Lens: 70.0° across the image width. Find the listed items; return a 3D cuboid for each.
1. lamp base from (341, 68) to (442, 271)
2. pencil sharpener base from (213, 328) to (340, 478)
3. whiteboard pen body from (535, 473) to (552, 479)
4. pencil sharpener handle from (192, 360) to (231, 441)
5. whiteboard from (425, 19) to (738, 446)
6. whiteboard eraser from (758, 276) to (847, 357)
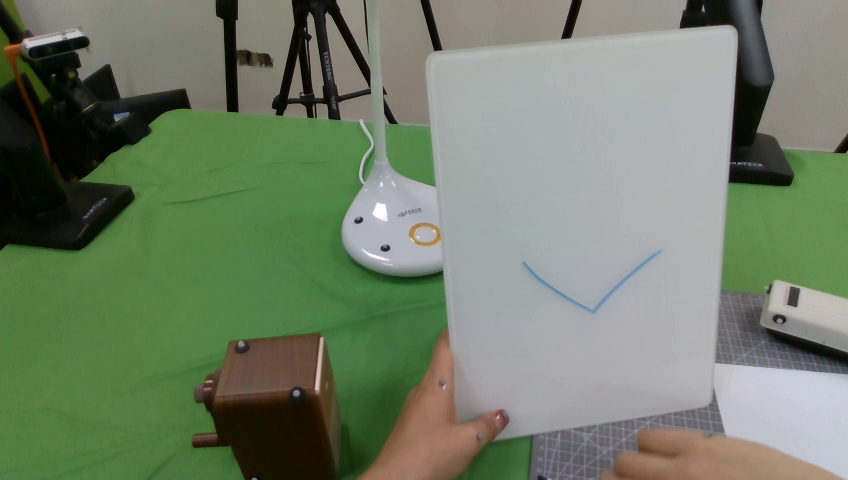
[{"bbox_3d":[-0.026,-0.084,0.661,0.161,0.182,0.177,-26,41,-27],"label":"lamp base"},{"bbox_3d":[-0.108,0.125,0.457,0.077,0.108,0.060,-4,39,-2],"label":"pencil sharpener base"},{"bbox_3d":[0.137,0.200,0.419,0.139,0.017,0.017,24,45,33],"label":"whiteboard pen body"},{"bbox_3d":[-0.159,0.121,0.444,0.030,0.068,0.035,-4,26,-2],"label":"pencil sharpener handle"},{"bbox_3d":[0.113,-0.013,0.510,0.217,0.307,0.143,-7,19,-5],"label":"whiteboard"},{"bbox_3d":[0.369,0.074,0.550,0.112,0.042,0.055,19,44,25],"label":"whiteboard eraser"}]
